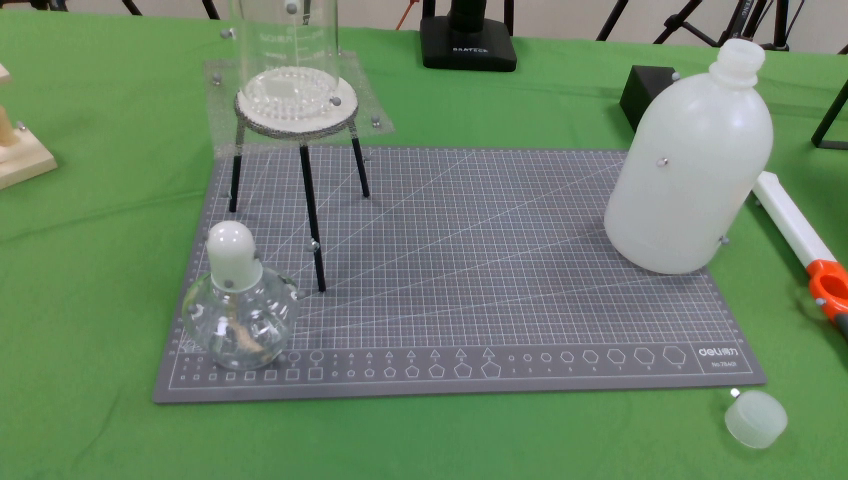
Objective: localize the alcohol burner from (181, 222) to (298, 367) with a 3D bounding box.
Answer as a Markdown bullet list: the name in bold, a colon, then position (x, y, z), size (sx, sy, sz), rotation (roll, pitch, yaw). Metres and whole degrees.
- **alcohol burner**: position (-0.126, 0.032, 0.410), size (0.078, 0.120, 0.077), rotation (5, 43, -4)

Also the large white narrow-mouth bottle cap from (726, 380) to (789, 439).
- **large white narrow-mouth bottle cap**: position (0.240, 0.122, 0.436), size (0.038, 0.024, 0.037), rotation (3, 45, -3)

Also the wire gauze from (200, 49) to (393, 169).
- **wire gauze**: position (-0.097, -0.105, 0.444), size (0.122, 0.011, 0.123), rotation (-11, 51, -15)

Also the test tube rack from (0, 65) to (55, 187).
- **test tube rack**: position (-0.450, -0.061, 0.488), size (0.066, 0.086, 0.242), rotation (37, 52, 27)

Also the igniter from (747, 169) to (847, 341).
- **igniter**: position (0.355, 0.028, 0.539), size (0.057, 0.025, 0.273), rotation (9, 44, -13)

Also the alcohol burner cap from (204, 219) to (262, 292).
- **alcohol burner cap**: position (-0.122, 0.008, 0.384), size (0.034, 0.048, 0.033), rotation (3, 50, -4)

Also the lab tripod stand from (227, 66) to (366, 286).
- **lab tripod stand**: position (-0.098, -0.057, 0.489), size (0.148, 0.132, 0.147), rotation (5, 45, -5)

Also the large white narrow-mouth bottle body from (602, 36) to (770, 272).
- **large white narrow-mouth bottle body**: position (0.219, -0.070, 0.498), size (0.102, 0.196, 0.101), rotation (3, 45, -3)

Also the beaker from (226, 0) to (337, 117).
- **beaker**: position (-0.097, -0.142, 0.411), size (0.084, 0.101, 0.073), rotation (-5, 47, -12)
